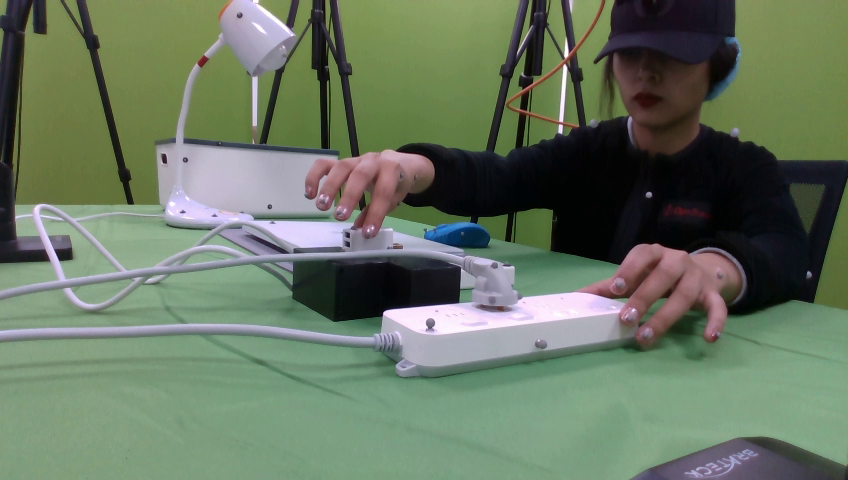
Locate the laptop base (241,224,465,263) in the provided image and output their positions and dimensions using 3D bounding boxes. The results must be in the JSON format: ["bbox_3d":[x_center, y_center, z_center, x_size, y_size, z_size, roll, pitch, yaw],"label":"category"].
[{"bbox_3d":[-0.126,0.003,0.945,0.237,0.023,0.352,2,6,-31],"label":"laptop base"}]

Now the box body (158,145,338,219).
[{"bbox_3d":[-0.410,-0.139,1.414,0.366,0.160,0.253,-3,9,-33],"label":"box body"}]

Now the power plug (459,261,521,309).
[{"bbox_3d":[0.042,0.043,0.444,0.035,0.052,0.073,-3,8,45],"label":"power plug"}]

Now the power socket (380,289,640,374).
[{"bbox_3d":[0.071,0.064,0.461,0.228,0.032,0.072,-3,7,-31],"label":"power socket"}]

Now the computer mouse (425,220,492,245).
[{"bbox_3d":[0.060,-0.013,1.059,0.117,0.041,0.062,-2,10,-5],"label":"computer mouse"}]

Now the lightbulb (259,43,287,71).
[{"bbox_3d":[-0.295,-0.357,1.102,0.059,0.107,0.059,-38,2,2],"label":"lightbulb"}]

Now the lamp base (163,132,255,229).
[{"bbox_3d":[-0.420,-0.116,1.156,0.179,0.180,0.160,0,7,0],"label":"lamp base"}]

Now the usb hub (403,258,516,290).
[{"bbox_3d":[0.042,0.038,0.690,0.126,0.025,0.049,-2,10,-30],"label":"usb hub"}]

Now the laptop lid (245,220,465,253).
[{"bbox_3d":[-0.124,-0.009,0.945,0.243,0.013,0.355,1,7,-29],"label":"laptop lid"}]

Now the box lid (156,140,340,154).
[{"bbox_3d":[-0.409,-0.213,1.404,0.373,0.015,0.262,-2,8,-32],"label":"box lid"}]

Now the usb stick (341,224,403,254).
[{"bbox_3d":[-0.047,-0.001,0.567,0.059,0.027,0.021,1,5,-33],"label":"usb stick"}]

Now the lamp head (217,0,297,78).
[{"bbox_3d":[-0.315,-0.372,1.102,0.123,0.112,0.112,41,2,-9],"label":"lamp head"}]
